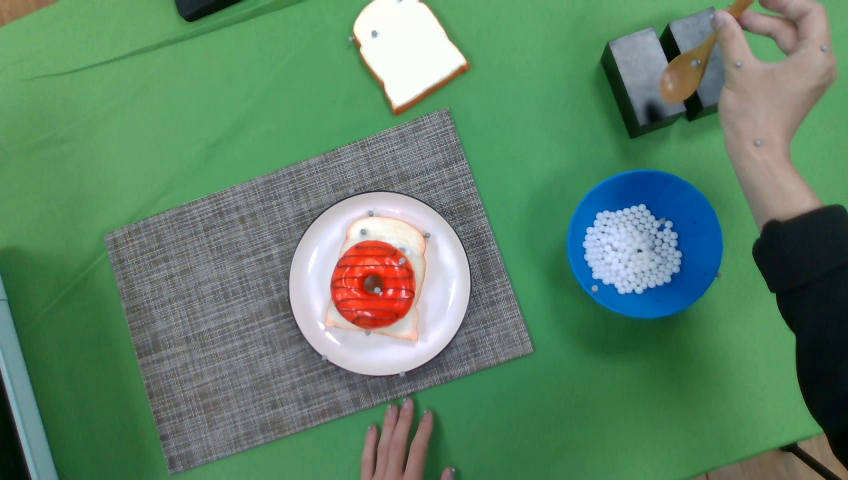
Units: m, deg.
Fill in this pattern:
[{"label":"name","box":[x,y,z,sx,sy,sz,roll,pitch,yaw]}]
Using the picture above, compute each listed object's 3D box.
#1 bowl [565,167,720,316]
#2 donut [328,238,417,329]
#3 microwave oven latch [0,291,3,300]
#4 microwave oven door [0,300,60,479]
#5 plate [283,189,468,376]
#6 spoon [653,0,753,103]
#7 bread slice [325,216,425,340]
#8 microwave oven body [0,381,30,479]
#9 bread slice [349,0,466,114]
[{"label":"bowl","box":[0.221,0.005,0.640,0.151,0.077,0.151,-1,85,6]},{"label":"donut","box":[-0.056,0.047,0.657,0.099,0.048,0.099,-1,86,7]},{"label":"microwave oven latch","box":[-0.537,0.038,0.727,0.030,0.029,0.079,-21,84,4]},{"label":"microwave oven door","box":[-0.474,0.231,0.601,0.039,0.244,0.354,-22,83,5]},{"label":"plate","box":[-0.054,0.048,0.685,0.207,0.039,0.207,-1,85,6]},{"label":"spoon","box":[0.252,-0.179,0.517,0.022,0.194,0.041,-16,74,-12]},{"label":"bread slice","box":[-0.053,0.041,0.686,0.107,0.018,0.134,5,86,7]},{"label":"microwave oven body","box":[-0.624,0.246,0.622,0.326,0.261,0.440,-21,84,4]},{"label":"bread slice","box":[-0.029,-0.230,0.719,0.105,0.019,0.131,-34,83,2]}]
